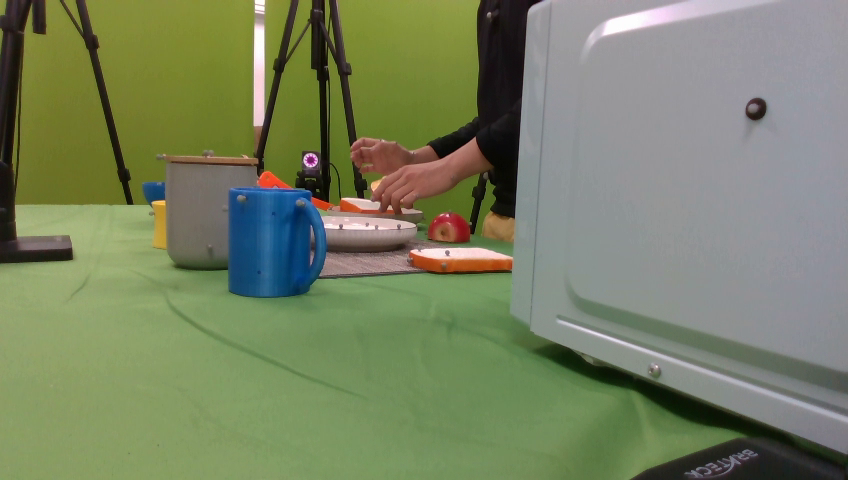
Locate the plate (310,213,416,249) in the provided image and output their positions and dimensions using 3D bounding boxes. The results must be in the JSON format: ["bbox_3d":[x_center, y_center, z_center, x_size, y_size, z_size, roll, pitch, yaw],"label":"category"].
[{"bbox_3d":[-0.116,-0.014,0.967,0.208,0.039,0.207,2,8,0],"label":"plate"}]

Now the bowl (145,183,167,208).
[{"bbox_3d":[-0.459,-0.068,1.175,0.151,0.077,0.151,3,7,0],"label":"bowl"}]

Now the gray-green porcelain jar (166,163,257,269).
[{"bbox_3d":[-0.263,-0.031,0.754,0.106,0.126,0.106,2,7,0],"label":"gray-green porcelain jar"}]

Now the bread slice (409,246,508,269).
[{"bbox_3d":[0.048,0.022,0.816,0.132,0.019,0.104,0,7,-24],"label":"bread slice"}]

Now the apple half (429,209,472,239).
[{"bbox_3d":[0.048,-0.031,1.117,0.080,0.053,0.075,6,10,23],"label":"apple half"}]

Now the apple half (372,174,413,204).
[{"bbox_3d":[-0.062,-0.088,1.140,0.081,0.033,0.081,16,37,-12],"label":"apple half"}]

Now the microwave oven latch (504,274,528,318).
[{"bbox_3d":[0.100,0.041,0.471,0.079,0.029,0.030,-1,8,-28],"label":"microwave oven latch"}]

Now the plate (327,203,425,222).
[{"bbox_3d":[-0.102,-0.053,1.299,0.209,0.038,0.209,2,8,0],"label":"plate"}]

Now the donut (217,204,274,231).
[{"bbox_3d":[-0.318,-0.038,1.080,0.099,0.048,0.099,3,7,0],"label":"donut"}]

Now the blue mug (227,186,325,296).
[{"bbox_3d":[-0.146,0.000,0.618,0.116,0.106,0.083,7,9,32],"label":"blue mug"}]

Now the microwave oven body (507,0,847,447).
[{"bbox_3d":[0.331,-0.042,0.425,0.444,0.260,0.324,-2,8,-31],"label":"microwave oven body"}]

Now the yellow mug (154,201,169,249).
[{"bbox_3d":[-0.337,-0.022,0.899,0.130,0.064,0.100,8,9,34],"label":"yellow mug"}]

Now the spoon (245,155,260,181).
[{"bbox_3d":[-0.421,-0.150,1.540,0.042,0.021,0.193,-5,55,-37],"label":"spoon"}]

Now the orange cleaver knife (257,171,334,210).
[{"bbox_3d":[-0.283,-0.087,1.343,0.212,0.077,0.012,24,-16,-41],"label":"orange cleaver knife"}]

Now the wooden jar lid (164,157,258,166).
[{"bbox_3d":[-0.261,-0.093,0.746,0.108,0.020,0.108,1,9,0],"label":"wooden jar lid"}]

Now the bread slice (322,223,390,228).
[{"bbox_3d":[-0.116,-0.014,0.974,0.135,0.018,0.106,-6,11,-42],"label":"bread slice"}]

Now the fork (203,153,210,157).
[{"bbox_3d":[-0.480,-0.136,1.412,0.028,0.018,0.207,1,-34,-1],"label":"fork"}]

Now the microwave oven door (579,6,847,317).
[{"bbox_3d":[0.294,-0.067,0.570,0.358,0.243,0.039,-3,9,-31],"label":"microwave oven door"}]
